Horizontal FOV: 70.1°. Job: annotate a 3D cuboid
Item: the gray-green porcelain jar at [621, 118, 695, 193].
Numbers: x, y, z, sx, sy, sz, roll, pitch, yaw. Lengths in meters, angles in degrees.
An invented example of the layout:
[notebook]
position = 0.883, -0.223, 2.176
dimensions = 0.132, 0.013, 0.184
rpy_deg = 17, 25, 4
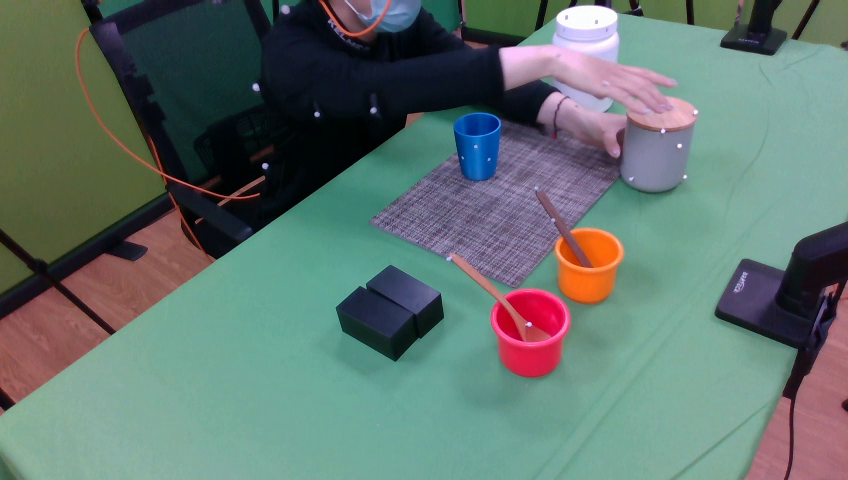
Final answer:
[gray-green porcelain jar]
position = 0.389, -0.152, 1.016
dimensions = 0.106, 0.127, 0.105
rpy_deg = -4, 40, 4

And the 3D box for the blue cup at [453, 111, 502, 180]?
[blue cup]
position = 0.097, -0.166, 1.088
dimensions = 0.092, 0.100, 0.092
rpy_deg = -3, 41, 3

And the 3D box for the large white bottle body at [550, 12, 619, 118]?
[large white bottle body]
position = 0.320, -0.356, 1.218
dimensions = 0.130, 0.185, 0.130
rpy_deg = -4, 41, 4

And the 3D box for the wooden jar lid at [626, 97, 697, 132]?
[wooden jar lid]
position = 0.382, -0.198, 0.976
dimensions = 0.108, 0.021, 0.108
rpy_deg = -2, 40, 3

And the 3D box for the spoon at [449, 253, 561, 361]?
[spoon]
position = 0.103, 0.083, 0.770
dimensions = 0.194, 0.021, 0.042
rpy_deg = 47, 51, -7

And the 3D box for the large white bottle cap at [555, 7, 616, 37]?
[large white bottle cap]
position = 0.311, -0.420, 1.163
dimensions = 0.115, 0.018, 0.114
rpy_deg = -4, 40, 4

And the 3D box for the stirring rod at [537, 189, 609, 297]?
[stirring rod]
position = 0.210, 0.003, 0.855
dimensions = 0.014, 0.006, 0.176
rpy_deg = -32, 89, -32
